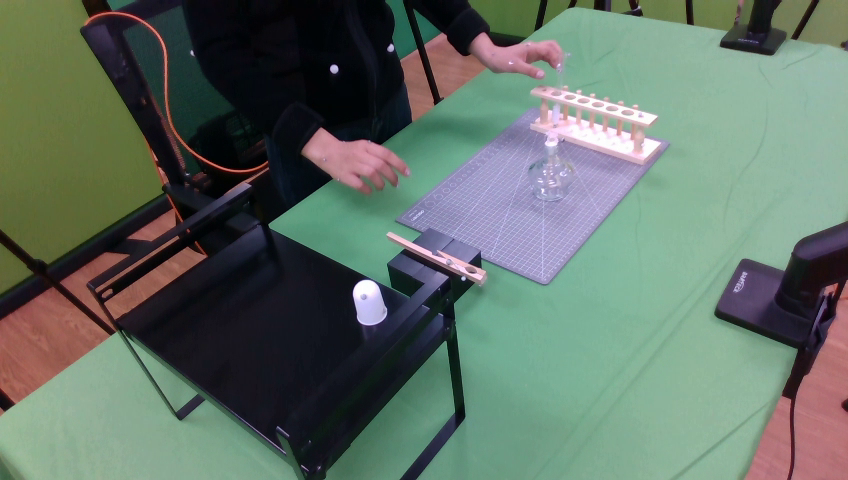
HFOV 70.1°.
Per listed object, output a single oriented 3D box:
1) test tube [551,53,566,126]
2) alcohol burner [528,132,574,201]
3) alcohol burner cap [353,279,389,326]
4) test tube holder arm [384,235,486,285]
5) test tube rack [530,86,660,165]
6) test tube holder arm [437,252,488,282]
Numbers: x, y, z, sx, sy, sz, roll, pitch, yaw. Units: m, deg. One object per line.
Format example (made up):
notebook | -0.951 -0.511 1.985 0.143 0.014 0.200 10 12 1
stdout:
test tube | 0.252 -0.280 1.138 0.017 0.151 0.017 -3 44 3
alcohol burner | 0.214 -0.126 1.016 0.078 0.119 0.077 -5 38 5
alcohol burner cap | -0.055 0.061 0.616 0.034 0.048 0.033 -5 41 4
test tube holder arm | 0.012 0.027 0.871 0.177 0.015 0.013 21 53 30
test tube rack | 0.320 -0.226 1.140 0.240 0.085 0.067 27 51 34
test tube holder arm | 0.051 0.037 0.852 0.087 0.015 0.010 22 53 30
